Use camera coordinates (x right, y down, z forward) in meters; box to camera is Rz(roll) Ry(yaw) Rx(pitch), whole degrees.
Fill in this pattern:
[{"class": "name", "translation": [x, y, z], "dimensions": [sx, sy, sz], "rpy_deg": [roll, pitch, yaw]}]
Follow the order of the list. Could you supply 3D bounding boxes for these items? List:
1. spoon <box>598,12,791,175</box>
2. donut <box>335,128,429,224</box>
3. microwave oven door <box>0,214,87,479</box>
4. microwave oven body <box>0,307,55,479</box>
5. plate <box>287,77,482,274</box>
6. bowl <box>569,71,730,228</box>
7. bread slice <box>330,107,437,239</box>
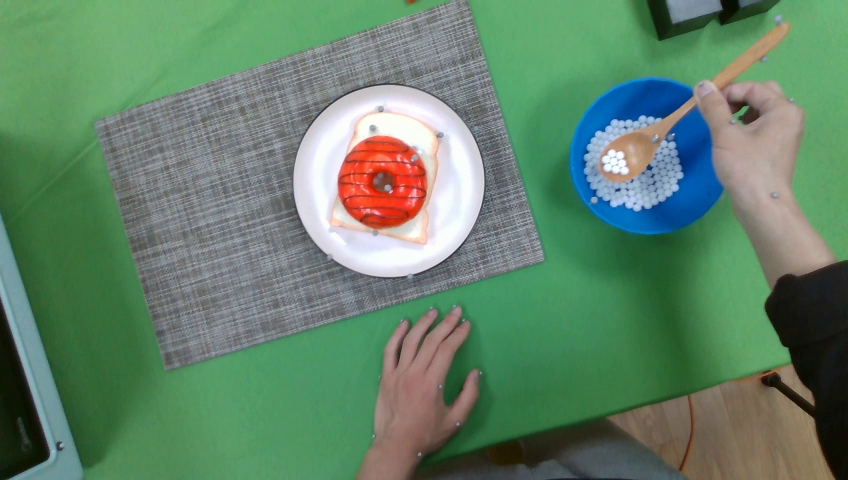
[{"class": "spoon", "translation": [0.236, -0.126, 0.540], "dimensions": [0.194, 0.021, 0.041], "rpy_deg": [-42, 81, 33]}, {"class": "donut", "translation": [-0.044, -0.065, 0.626], "dimensions": [0.099, 0.048, 0.099], "rpy_deg": [0, 92, 6]}, {"class": "microwave oven door", "translation": [-0.468, 0.107, 0.579], "dimensions": [0.039, 0.244, 0.355], "rpy_deg": [-19, 89, 5]}, {"class": "microwave oven body", "translation": [-0.619, 0.113, 0.598], "dimensions": [0.326, 0.260, 0.441], "rpy_deg": [-19, 90, 5]}, {"class": "plate", "translation": [-0.041, -0.067, 0.654], "dimensions": [0.207, 0.039, 0.207], "rpy_deg": [0, 91, 5]}, {"class": "bowl", "translation": [0.218, -0.086, 0.614], "dimensions": [0.151, 0.077, 0.151], "rpy_deg": [0, 91, 5]}, {"class": "bread slice", "translation": [-0.041, -0.075, 0.654], "dimensions": [0.107, 0.018, 0.134], "rpy_deg": [8, 92, 4]}]
